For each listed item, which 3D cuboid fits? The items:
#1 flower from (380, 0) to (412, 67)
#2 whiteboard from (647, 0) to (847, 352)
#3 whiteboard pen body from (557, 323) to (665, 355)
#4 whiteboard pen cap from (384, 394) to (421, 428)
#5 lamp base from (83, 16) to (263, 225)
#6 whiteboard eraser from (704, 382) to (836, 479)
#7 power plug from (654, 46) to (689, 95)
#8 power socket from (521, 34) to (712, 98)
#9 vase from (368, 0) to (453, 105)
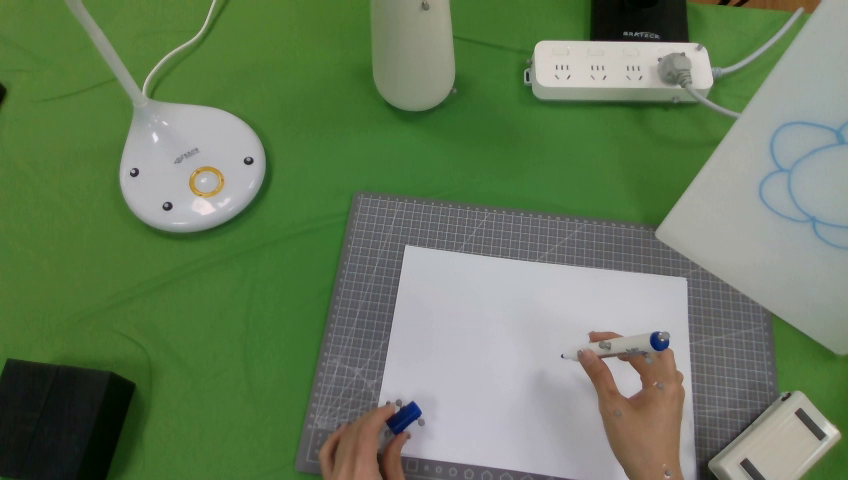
[{"bbox_3d":[0.000,-0.260,0.574,0.044,0.362,0.038,-35,87,-23],"label":"flower"},{"bbox_3d":[0.398,-0.080,0.558,0.216,0.307,0.143,37,51,16],"label":"whiteboard"},{"bbox_3d":[0.154,0.087,0.520,0.017,0.141,0.017,6,74,-19],"label":"whiteboard pen body"},{"bbox_3d":[-0.020,0.158,0.560,0.033,0.018,0.018,-35,70,-20],"label":"whiteboard pen cap"},{"bbox_3d":[-0.273,-0.128,0.617,0.178,0.181,0.160,38,71,19],"label":"lamp base"},{"bbox_3d":[0.312,0.183,0.550,0.112,0.042,0.055,-34,69,-13],"label":"whiteboard eraser"},{"bbox_3d":[0.282,-0.190,0.697,0.035,0.053,0.072,11,73,6],"label":"power plug"},{"bbox_3d":[0.233,-0.210,0.730,0.227,0.033,0.071,2,67,1],"label":"power socket"},{"bbox_3d":[-0.017,-0.237,0.653,0.098,0.201,0.097,-1,65,2],"label":"vase"}]
